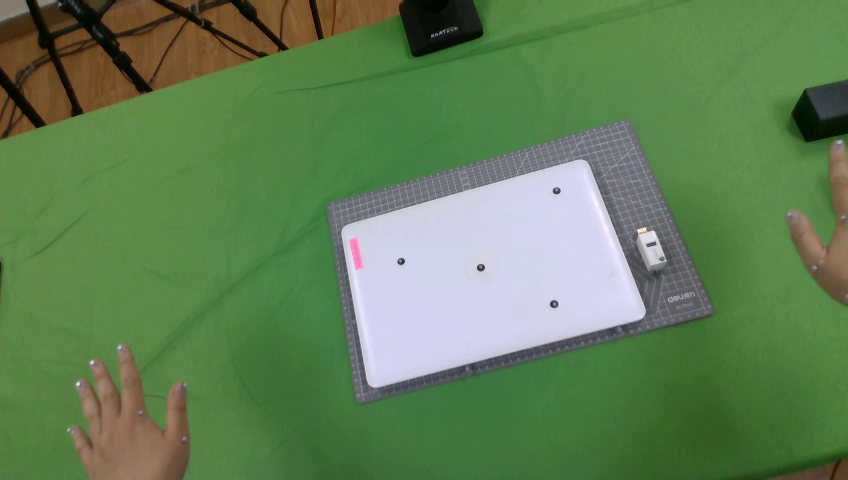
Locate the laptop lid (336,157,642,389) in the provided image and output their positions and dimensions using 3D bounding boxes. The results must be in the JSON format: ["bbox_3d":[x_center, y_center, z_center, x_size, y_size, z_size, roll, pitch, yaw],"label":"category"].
[{"bbox_3d":[0.070,0.036,0.782,0.356,0.013,0.239,-15,66,4],"label":"laptop lid"}]

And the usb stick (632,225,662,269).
[{"bbox_3d":[0.277,0.004,0.761,0.021,0.027,0.058,-18,60,8],"label":"usb stick"}]

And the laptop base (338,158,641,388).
[{"bbox_3d":[0.072,0.038,0.793,0.354,0.023,0.233,-16,67,4],"label":"laptop base"}]
